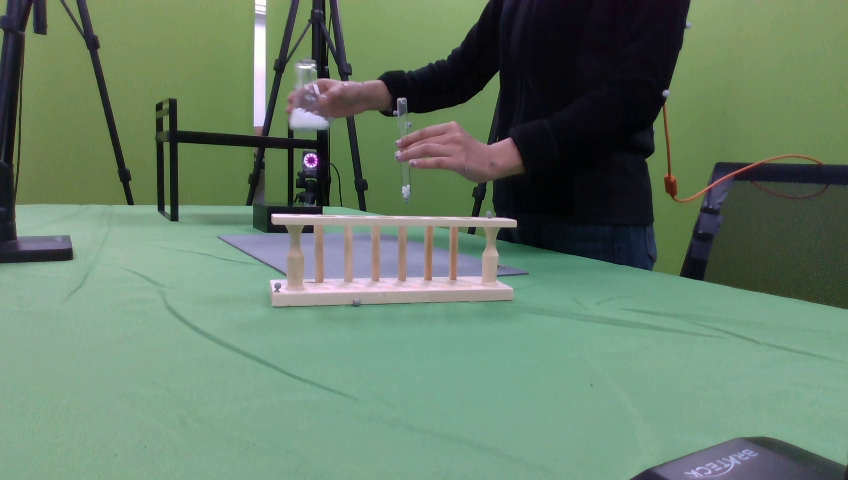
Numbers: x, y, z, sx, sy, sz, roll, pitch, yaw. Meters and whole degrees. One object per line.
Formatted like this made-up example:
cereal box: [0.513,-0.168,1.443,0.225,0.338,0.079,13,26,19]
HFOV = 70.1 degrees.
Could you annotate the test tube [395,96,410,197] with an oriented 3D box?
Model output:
test tube: [-0.032,-0.140,0.911,0.017,0.150,0.017,-3,5,1]

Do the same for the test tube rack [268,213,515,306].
test tube rack: [-0.032,0.015,0.617,0.243,0.085,0.066,0,7,-17]

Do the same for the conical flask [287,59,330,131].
conical flask: [-0.212,-0.260,1.087,0.075,0.122,0.075,-4,9,1]
